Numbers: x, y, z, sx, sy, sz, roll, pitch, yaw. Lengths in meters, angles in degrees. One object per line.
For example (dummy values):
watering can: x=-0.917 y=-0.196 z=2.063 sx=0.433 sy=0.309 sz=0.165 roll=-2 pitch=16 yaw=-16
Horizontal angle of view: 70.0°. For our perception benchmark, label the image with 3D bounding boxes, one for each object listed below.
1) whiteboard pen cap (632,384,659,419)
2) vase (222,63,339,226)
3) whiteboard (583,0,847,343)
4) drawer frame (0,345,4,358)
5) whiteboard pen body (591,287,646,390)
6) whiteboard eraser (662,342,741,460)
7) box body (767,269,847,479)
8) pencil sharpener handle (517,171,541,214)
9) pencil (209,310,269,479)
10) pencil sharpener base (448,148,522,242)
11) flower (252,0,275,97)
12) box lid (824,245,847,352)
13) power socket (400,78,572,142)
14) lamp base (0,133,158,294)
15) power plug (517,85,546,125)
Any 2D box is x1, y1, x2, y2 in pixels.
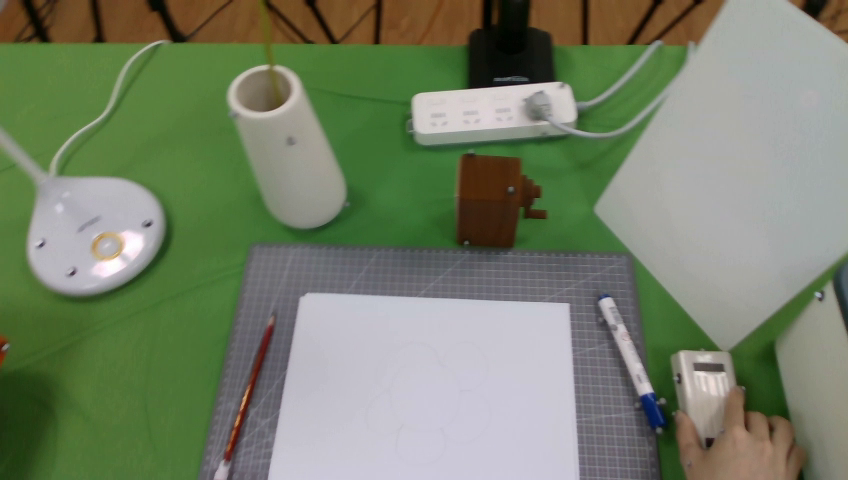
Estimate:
whiteboard pen cap: x=0.220 y=0.161 z=0.605 sx=0.018 sy=0.018 sz=0.033 roll=-13 pitch=60 yaw=-5
vase: x=-0.156 y=-0.099 z=0.666 sx=0.098 sy=0.201 sz=0.097 roll=-2 pitch=61 yaw=3
whiteboard: x=0.342 y=-0.077 z=0.610 sx=0.144 sy=0.307 sz=0.215 roll=-19 pitch=60 yaw=-30
drawer frame: x=-0.548 y=0.168 z=0.554 sx=0.213 sy=0.083 sz=0.200 roll=4 pitch=62 yaw=2
whiteboard pen body: x=0.207 y=0.112 z=0.635 sx=0.017 sy=0.017 sz=0.139 roll=-14 pitch=61 yaw=-5
whiteboard eraser: x=0.272 y=0.158 z=0.600 sx=0.055 sy=0.042 sz=0.112 roll=2 pitch=63 yaw=-1
box body: x=0.469 y=0.201 z=0.499 sx=0.254 sy=0.162 sz=0.361 roll=0 pitch=61 yaw=3
pencil sharpener handle: x=0.118 y=-0.051 z=0.668 sx=0.030 sy=0.068 sz=0.035 roll=3 pitch=60 yaw=4
pencil: x=-0.190 y=0.160 z=0.631 sx=0.012 sy=0.012 sz=0.192 roll=7 pitch=60 yaw=7
pencil sharpener base: x=0.067 y=-0.048 z=0.682 sx=0.076 sy=0.108 sz=0.061 roll=3 pitch=61 yaw=4
flower: x=-0.152 y=-0.154 z=0.603 sx=0.038 sy=0.365 sz=0.043 roll=-9 pitch=43 yaw=-11
box lid: x=0.466 y=0.162 z=0.434 sx=0.263 sy=0.015 sz=0.368 roll=1 pitch=61 yaw=2
power socket: x=0.081 y=-0.171 z=0.791 sx=0.227 sy=0.033 sz=0.071 roll=-4 pitch=62 yaw=-1
lamp base: x=-0.413 y=-0.052 z=0.661 sx=0.178 sy=0.182 sz=0.160 roll=31 pitch=66 yaw=21
power plug: x=0.134 y=-0.161 z=0.757 sx=0.035 sy=0.053 sz=0.072 roll=5 pitch=63 yaw=5
